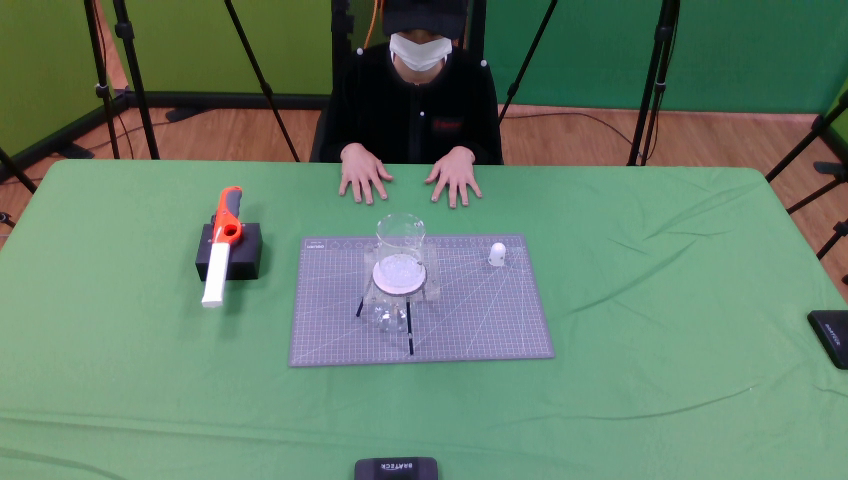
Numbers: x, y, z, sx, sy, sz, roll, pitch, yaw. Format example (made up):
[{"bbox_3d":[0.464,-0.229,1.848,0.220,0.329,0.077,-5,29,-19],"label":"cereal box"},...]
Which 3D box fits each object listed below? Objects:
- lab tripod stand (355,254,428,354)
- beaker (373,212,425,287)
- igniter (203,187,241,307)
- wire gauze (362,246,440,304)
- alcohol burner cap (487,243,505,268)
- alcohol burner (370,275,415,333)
[{"bbox_3d":[-0.046,0.100,1.017,0.148,0.132,0.147,1,47,-1],"label":"lab tripod stand"},{"bbox_3d":[-0.036,0.019,0.936,0.074,0.101,0.083,-29,54,-26],"label":"beaker"},{"bbox_3d":[-0.365,0.003,1.098,0.057,0.025,0.274,-1,49,-7],"label":"igniter"},{"bbox_3d":[-0.038,0.052,0.972,0.121,0.011,0.124,0,44,-5],"label":"wire gauze"},{"bbox_3d":[0.141,0.027,1.166,0.034,0.048,0.033,2,45,-2],"label":"alcohol burner cap"},{"bbox_3d":[-0.054,0.103,1.026,0.078,0.120,0.077,1,44,-1],"label":"alcohol burner"}]
